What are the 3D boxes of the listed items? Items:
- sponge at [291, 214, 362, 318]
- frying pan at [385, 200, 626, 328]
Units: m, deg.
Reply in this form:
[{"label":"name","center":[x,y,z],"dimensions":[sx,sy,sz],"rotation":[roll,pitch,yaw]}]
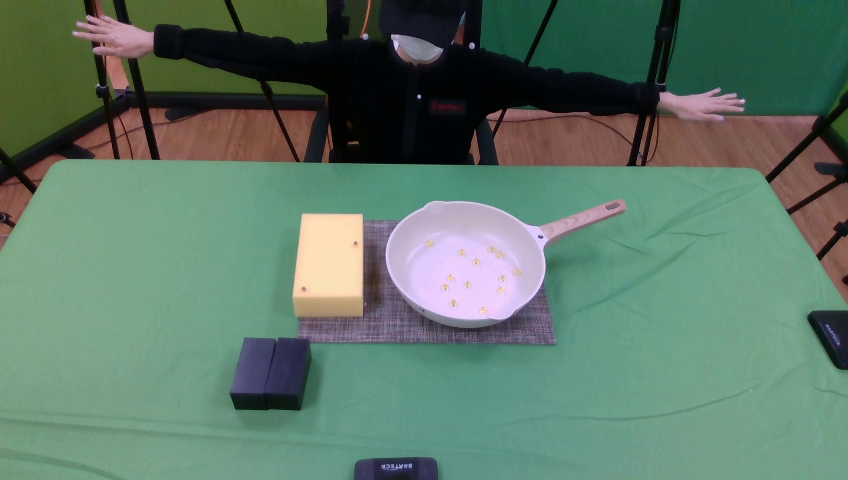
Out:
[{"label":"sponge","center":[-0.173,0.044,1.112],"dimensions":[0.118,0.061,0.205],"rotation":[-1,46,-5]},{"label":"frying pan","center":[0.169,0.014,1.137],"dimensions":[0.488,0.103,0.304],"rotation":[-19,51,-11]}]
